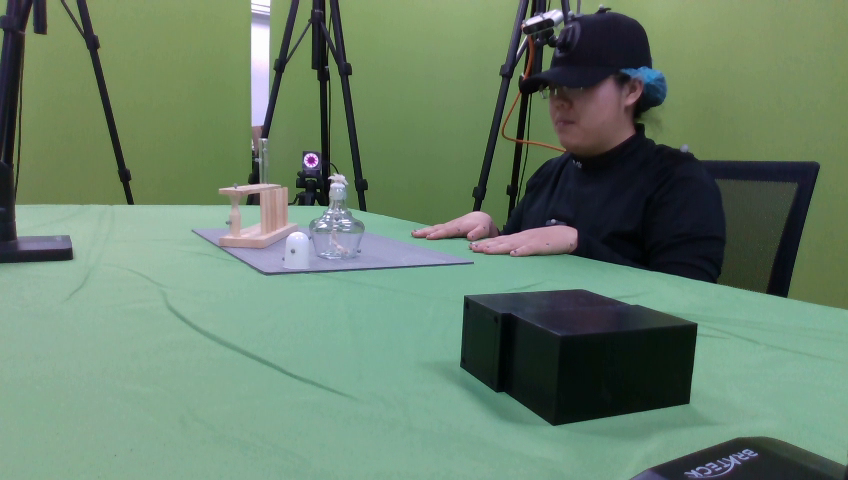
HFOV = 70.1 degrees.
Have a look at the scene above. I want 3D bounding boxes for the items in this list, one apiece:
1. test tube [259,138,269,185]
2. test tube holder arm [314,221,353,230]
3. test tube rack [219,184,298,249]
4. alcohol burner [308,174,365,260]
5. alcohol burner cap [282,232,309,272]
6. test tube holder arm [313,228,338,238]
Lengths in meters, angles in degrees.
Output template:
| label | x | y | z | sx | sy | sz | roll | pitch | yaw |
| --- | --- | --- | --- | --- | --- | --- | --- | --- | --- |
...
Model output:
| label | x | y | z | sx | sy | sz | roll | pitch | yaw |
| --- | --- | --- | --- | --- | --- | --- | --- | --- | --- |
| test tube | -0.281 | -0.104 | 1.064 | 0.017 | 0.150 | 0.017 | 2 | 12 | 0 |
| test tube holder arm | -0.167 | -0.027 | 1.137 | 0.015 | 0.013 | 0.179 | 10 | 7 | 11 |
| test tube rack | -0.266 | -0.046 | 1.002 | 0.067 | 0.085 | 0.242 | 3 | 7 | 0 |
| alcohol burner | -0.121 | -0.033 | 0.841 | 0.078 | 0.119 | 0.078 | 3 | 5 | 0 |
| alcohol burner cap | -0.157 | 0.014 | 0.740 | 0.034 | 0.048 | 0.034 | 2 | 6 | 0 |
| test tube holder arm | -0.177 | -0.016 | 1.094 | 0.015 | 0.010 | 0.088 | 9 | 13 | 11 |
